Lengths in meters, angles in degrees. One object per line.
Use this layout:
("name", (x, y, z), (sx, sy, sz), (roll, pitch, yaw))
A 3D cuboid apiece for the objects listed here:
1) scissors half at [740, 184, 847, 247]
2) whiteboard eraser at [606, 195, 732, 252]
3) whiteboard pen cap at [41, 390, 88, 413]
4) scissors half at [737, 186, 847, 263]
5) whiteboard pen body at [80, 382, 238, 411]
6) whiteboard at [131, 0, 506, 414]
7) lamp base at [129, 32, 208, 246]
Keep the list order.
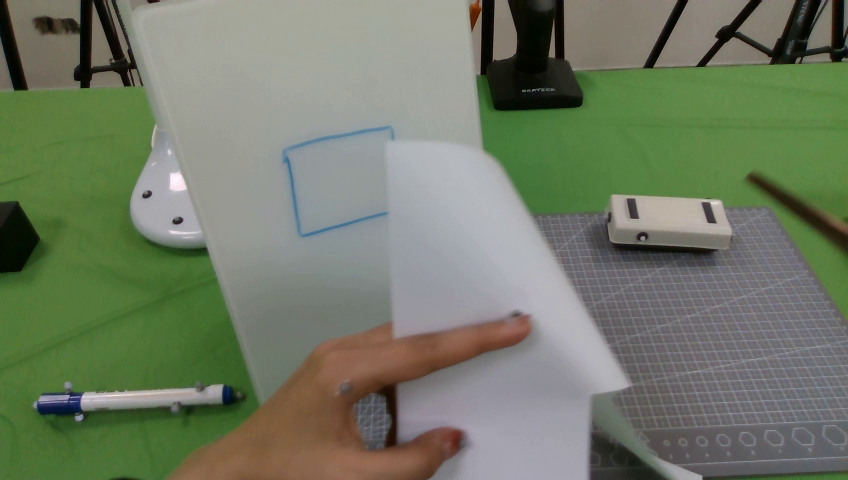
("scissors half", (0.213, 0.025, 0.270), (0.175, 0.040, 0.013), (34, 84, -2))
("whiteboard eraser", (0.242, -0.015, 0.606), (0.112, 0.042, 0.055), (3, 42, 5))
("whiteboard pen cap", (-0.281, 0.128, 0.478), (0.033, 0.018, 0.018), (0, 42, -8))
("scissors half", (0.211, 0.022, 0.250), (0.174, 0.040, 0.013), (32, 89, 15))
("whiteboard pen body", (-0.222, 0.126, 0.483), (0.141, 0.017, 0.017), (-2, 43, -6))
("whiteboard", (-0.073, -0.052, 0.505), (0.217, 0.308, 0.142), (-17, 26, -15))
("lamp base", (-0.248, -0.111, 0.622), (0.177, 0.182, 0.160), (27, 50, 31))
